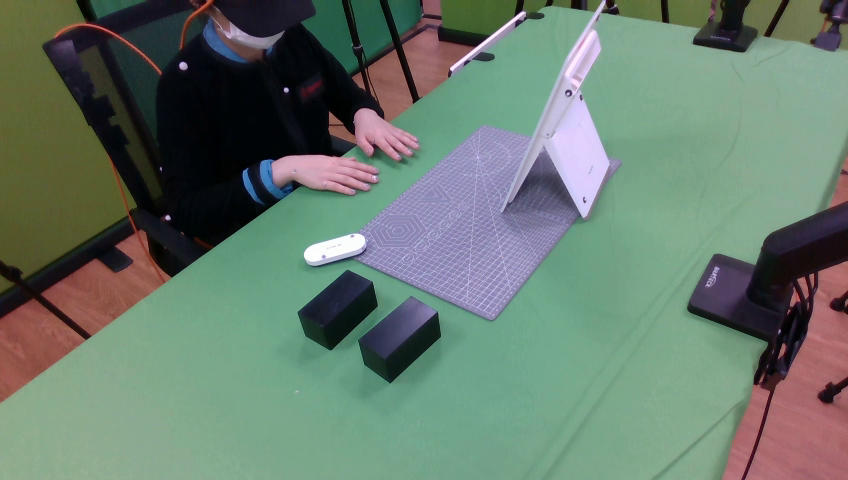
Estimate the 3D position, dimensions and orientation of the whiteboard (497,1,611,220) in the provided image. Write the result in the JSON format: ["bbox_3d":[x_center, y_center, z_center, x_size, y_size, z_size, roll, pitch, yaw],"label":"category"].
[{"bbox_3d":[0.259,-0.177,0.963,0.143,0.306,0.217,28,48,9],"label":"whiteboard"}]

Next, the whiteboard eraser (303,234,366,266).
[{"bbox_3d":[-0.144,0.015,0.970,0.101,0.019,0.041,-14,43,-6],"label":"whiteboard eraser"}]
